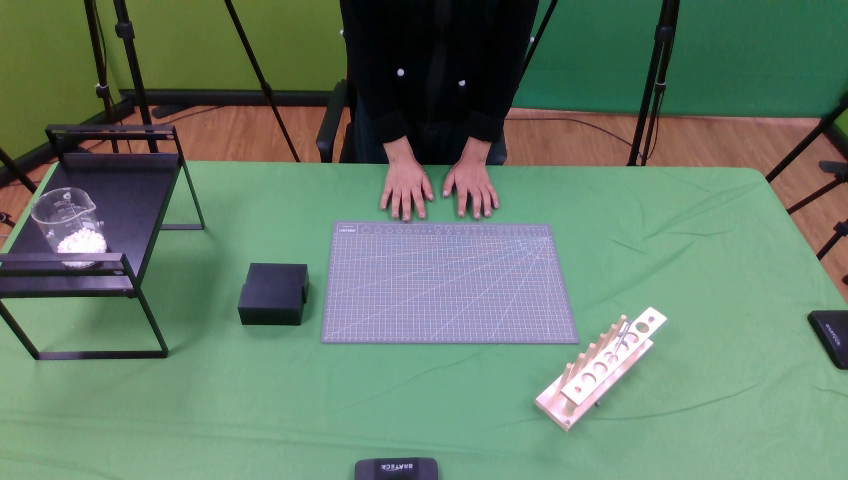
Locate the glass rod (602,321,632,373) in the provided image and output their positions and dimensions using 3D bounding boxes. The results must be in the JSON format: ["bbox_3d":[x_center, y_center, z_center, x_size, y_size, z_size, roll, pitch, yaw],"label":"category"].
[{"bbox_3d":[0.286,0.173,0.913,0.008,0.201,0.008,-1,53,1],"label":"glass rod"}]

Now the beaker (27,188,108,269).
[{"bbox_3d":[-0.502,-0.014,0.869,0.084,0.101,0.073,-3,47,-7],"label":"beaker"}]

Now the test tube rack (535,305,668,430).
[{"bbox_3d":[0.290,0.193,0.984,0.242,0.085,0.066,-32,57,-30],"label":"test tube rack"}]
